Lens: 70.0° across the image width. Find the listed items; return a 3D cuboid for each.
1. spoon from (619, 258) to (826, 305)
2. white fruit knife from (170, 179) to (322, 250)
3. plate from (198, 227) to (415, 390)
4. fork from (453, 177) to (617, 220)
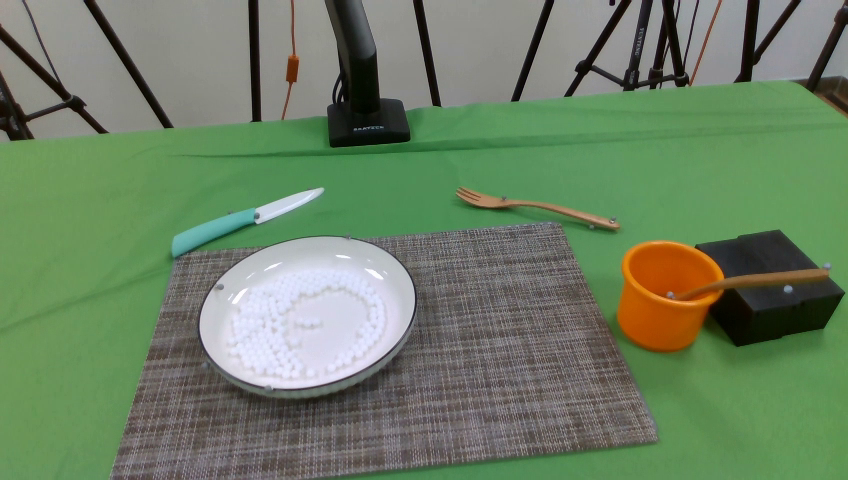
[{"bbox_3d":[0.257,0.037,0.546,0.041,0.193,0.021,-29,92,-33],"label":"spoon"},{"bbox_3d":[-0.214,-0.038,0.745,0.207,0.016,0.027,-26,70,-32],"label":"white fruit knife"},{"bbox_3d":[-0.111,0.065,0.597,0.209,0.038,0.207,0,40,1],"label":"plate"},{"bbox_3d":[0.135,-0.050,0.751,0.206,0.019,0.028,12,37,17],"label":"fork"}]
